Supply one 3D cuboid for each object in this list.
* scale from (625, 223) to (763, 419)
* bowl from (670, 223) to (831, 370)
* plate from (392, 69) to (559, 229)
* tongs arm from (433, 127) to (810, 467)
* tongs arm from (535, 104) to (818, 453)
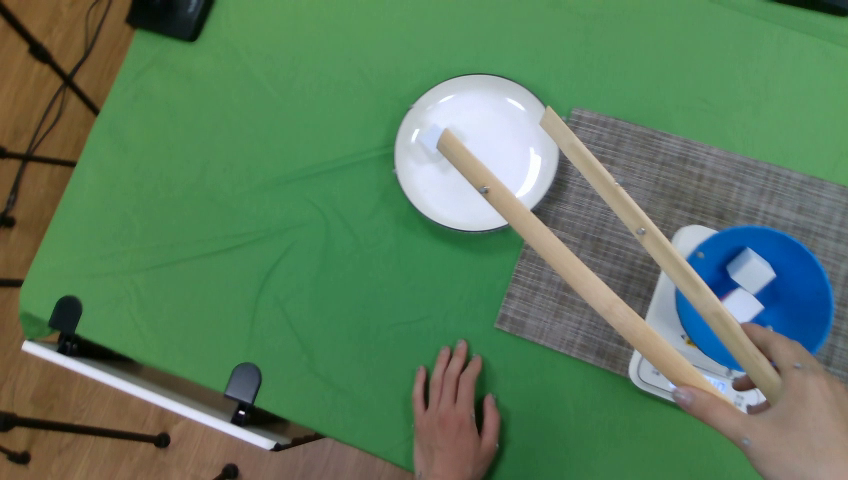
[{"bbox_3d":[0.330,0.091,0.690,0.148,0.032,0.200,21,83,11],"label":"scale"},{"bbox_3d":[0.331,0.063,0.642,0.151,0.077,0.151,-1,80,7],"label":"bowl"},{"bbox_3d":[0.064,-0.112,0.766,0.207,0.039,0.206,-1,79,7],"label":"plate"},{"bbox_3d":[0.139,0.034,0.498,0.028,0.028,0.384,-26,64,-42],"label":"tongs arm"},{"bbox_3d":[0.199,0.013,0.540,0.051,0.026,0.381,-15,58,-34],"label":"tongs arm"}]
